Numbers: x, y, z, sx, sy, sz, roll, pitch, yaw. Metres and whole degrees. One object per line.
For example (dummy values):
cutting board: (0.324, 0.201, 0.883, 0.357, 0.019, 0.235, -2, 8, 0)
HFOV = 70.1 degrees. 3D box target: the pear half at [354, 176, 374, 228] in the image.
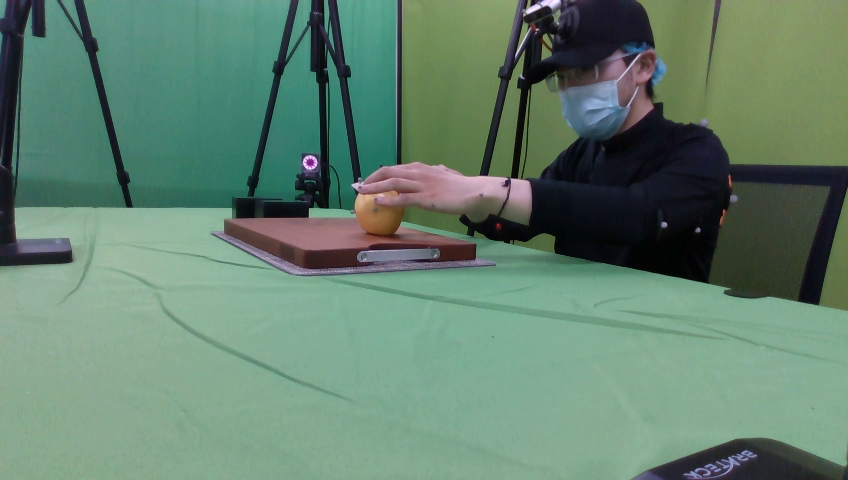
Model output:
pear half: (-0.086, -0.058, 0.960, 0.031, 0.088, 0.071, 4, 14, 45)

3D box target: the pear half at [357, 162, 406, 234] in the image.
pear half: (-0.060, -0.064, 0.930, 0.077, 0.110, 0.055, -12, 15, -42)

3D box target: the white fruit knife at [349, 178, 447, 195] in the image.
white fruit knife: (-0.037, -0.088, 0.982, 0.208, 0.027, 0.016, -4, 8, -44)
